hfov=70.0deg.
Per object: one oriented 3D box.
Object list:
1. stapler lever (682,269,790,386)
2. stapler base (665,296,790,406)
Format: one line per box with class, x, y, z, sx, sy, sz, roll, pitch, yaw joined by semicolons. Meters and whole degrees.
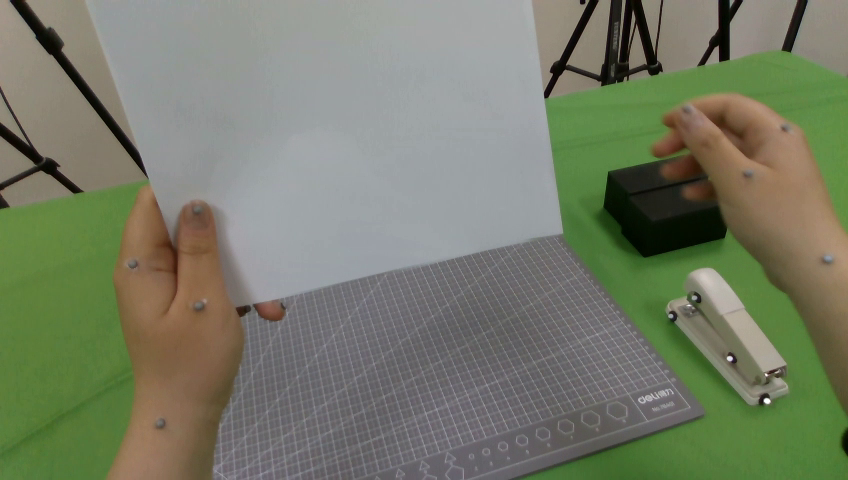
stapler lever;0.272;0.072;0.533;0.027;0.040;0.116;-15;41;-10
stapler base;0.273;0.091;0.550;0.041;0.024;0.129;-15;41;-11
